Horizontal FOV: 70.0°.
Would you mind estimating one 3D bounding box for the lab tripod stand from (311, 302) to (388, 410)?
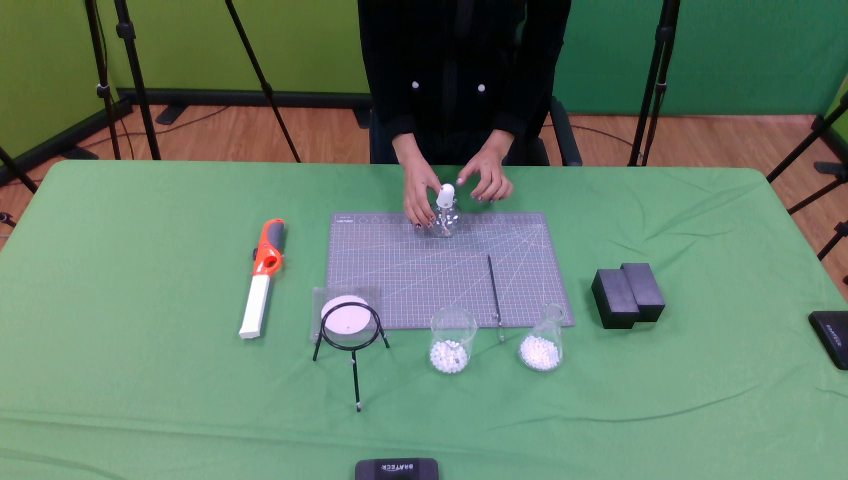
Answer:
[{"bbox_3d":[-0.113,0.168,0.951,0.148,0.132,0.147,2,44,-2],"label":"lab tripod stand"}]

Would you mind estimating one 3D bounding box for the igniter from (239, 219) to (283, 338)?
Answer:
[{"bbox_3d":[-0.298,0.061,1.113,0.057,0.025,0.274,-5,46,4],"label":"igniter"}]

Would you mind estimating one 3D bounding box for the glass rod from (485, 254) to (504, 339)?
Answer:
[{"bbox_3d":[0.129,0.099,1.119,0.008,0.008,0.198,-1,46,-4],"label":"glass rod"}]

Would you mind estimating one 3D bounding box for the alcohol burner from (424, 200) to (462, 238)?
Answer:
[{"bbox_3d":[0.039,-0.062,1.196,0.078,0.119,0.077,3,44,-2],"label":"alcohol burner"}]

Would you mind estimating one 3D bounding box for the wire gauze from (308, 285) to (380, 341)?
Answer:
[{"bbox_3d":[-0.141,0.128,1.071,0.125,0.011,0.120,-1,46,-5],"label":"wire gauze"}]

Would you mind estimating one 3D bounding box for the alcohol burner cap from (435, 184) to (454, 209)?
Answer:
[{"bbox_3d":[0.042,-0.086,1.169,0.034,0.048,0.033,6,46,-6],"label":"alcohol burner cap"}]

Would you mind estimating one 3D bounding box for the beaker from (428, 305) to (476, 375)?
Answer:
[{"bbox_3d":[0.044,0.168,0.987,0.074,0.101,0.083,1,47,-3],"label":"beaker"}]

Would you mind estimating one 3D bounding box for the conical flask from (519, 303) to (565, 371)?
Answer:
[{"bbox_3d":[0.201,0.155,0.997,0.075,0.122,0.075,2,46,-2],"label":"conical flask"}]
